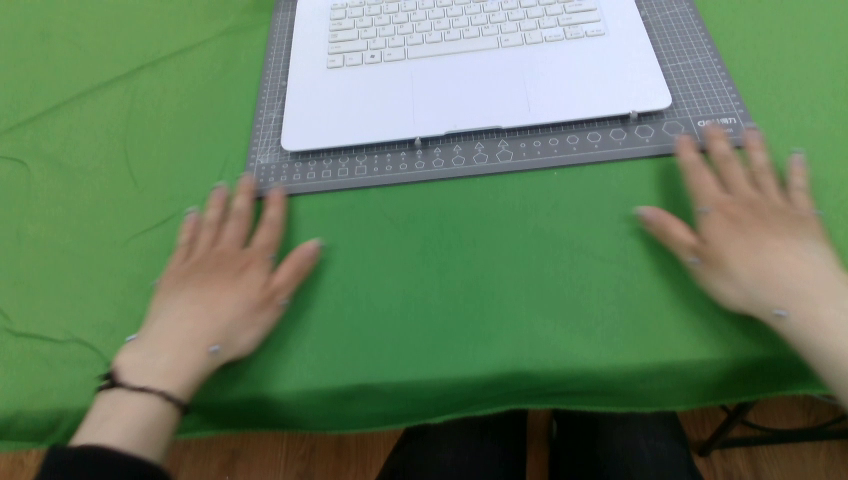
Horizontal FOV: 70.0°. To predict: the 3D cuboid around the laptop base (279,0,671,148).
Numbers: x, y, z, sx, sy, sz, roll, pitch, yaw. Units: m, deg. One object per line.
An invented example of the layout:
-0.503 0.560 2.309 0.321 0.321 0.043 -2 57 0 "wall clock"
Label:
0.038 -0.193 0.606 0.354 0.023 0.233 -6 59 3 "laptop base"
